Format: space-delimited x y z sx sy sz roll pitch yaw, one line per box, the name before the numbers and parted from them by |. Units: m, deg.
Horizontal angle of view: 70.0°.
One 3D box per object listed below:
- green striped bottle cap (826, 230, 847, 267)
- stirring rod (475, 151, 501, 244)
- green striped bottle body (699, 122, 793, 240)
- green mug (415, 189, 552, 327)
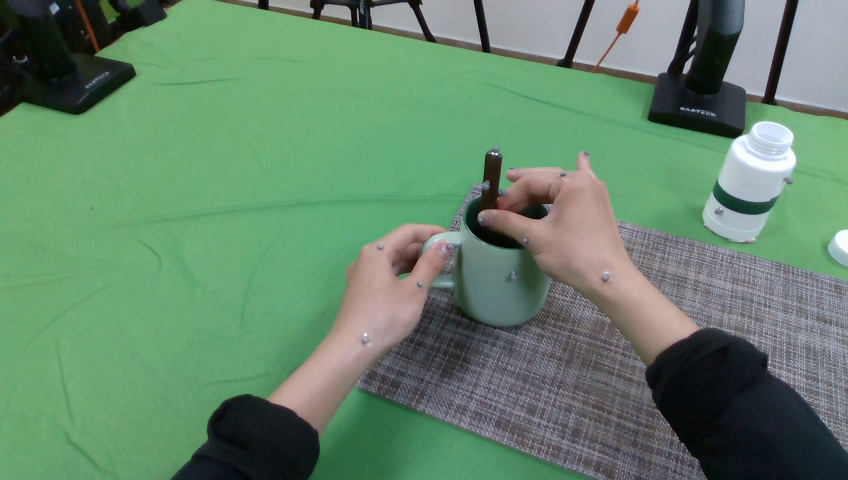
green striped bottle cap | 0.448 0.010 0.633 0.044 0.020 0.044 1 41 -1
stirring rod | 0.052 -0.014 0.527 0.014 0.177 0.006 13 56 10
green striped bottle body | 0.337 -0.062 0.631 0.063 0.120 0.062 0 45 0
green mug | 0.054 0.020 0.553 0.125 0.106 0.091 -6 45 -5
